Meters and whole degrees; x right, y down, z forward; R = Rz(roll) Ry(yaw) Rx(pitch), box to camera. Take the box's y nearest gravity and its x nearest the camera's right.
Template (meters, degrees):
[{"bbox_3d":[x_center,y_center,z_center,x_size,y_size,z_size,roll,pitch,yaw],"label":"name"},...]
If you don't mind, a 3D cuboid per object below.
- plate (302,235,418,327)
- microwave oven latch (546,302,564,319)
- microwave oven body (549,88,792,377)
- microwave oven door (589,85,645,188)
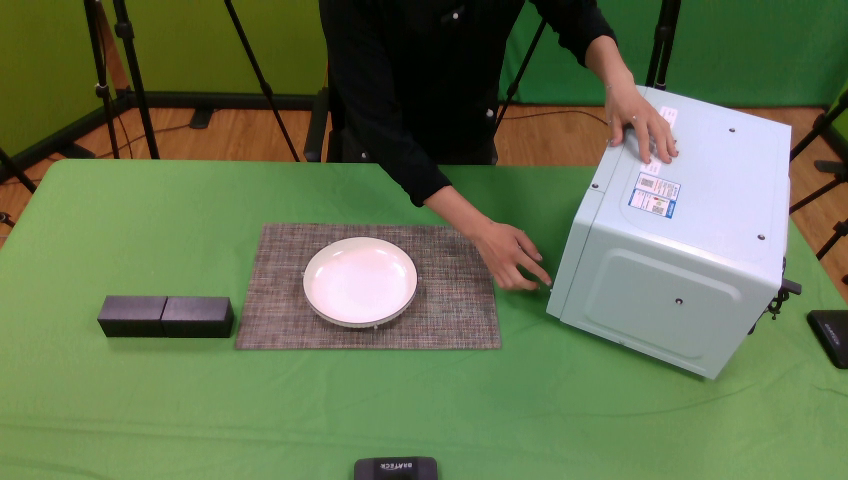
[{"bbox_3d":[-0.114,0.077,1.098,0.208,0.039,0.206,2,46,-2],"label":"plate"},{"bbox_3d":[0.242,0.102,1.081,0.030,0.029,0.079,22,48,17],"label":"microwave oven latch"},{"bbox_3d":[0.456,-0.028,1.088,0.325,0.261,0.440,20,47,16],"label":"microwave oven body"},{"bbox_3d":[0.342,-0.107,1.149,0.039,0.245,0.354,20,48,15],"label":"microwave oven door"}]
